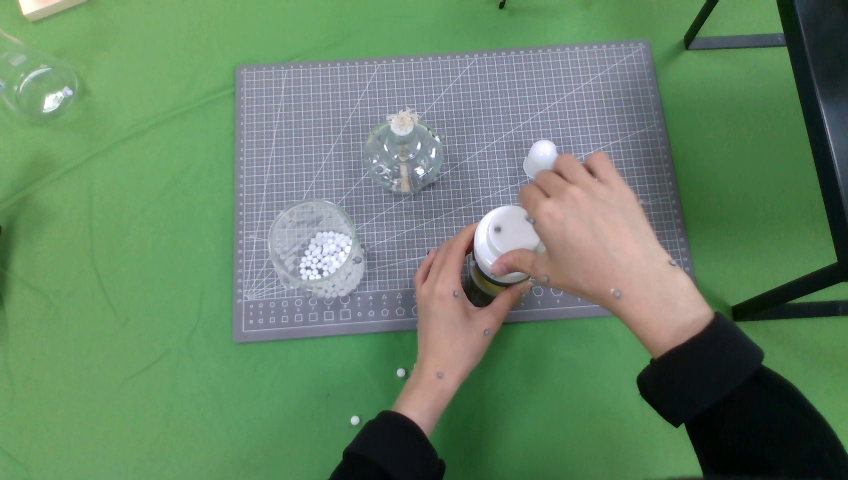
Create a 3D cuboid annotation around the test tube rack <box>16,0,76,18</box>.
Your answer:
[{"bbox_3d":[-0.348,-0.336,0.656,0.242,0.085,0.066,-24,75,-6],"label":"test tube rack"}]

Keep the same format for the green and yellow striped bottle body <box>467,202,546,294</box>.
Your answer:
[{"bbox_3d":[0.072,0.007,0.541,0.063,0.120,0.063,0,74,1],"label":"green and yellow striped bottle body"}]

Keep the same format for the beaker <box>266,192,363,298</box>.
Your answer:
[{"bbox_3d":[-0.096,0.013,0.550,0.074,0.101,0.083,25,76,8],"label":"beaker"}]

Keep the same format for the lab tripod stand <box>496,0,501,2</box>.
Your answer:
[{"bbox_3d":[0.141,-0.326,0.628,0.148,0.132,0.147,0,73,-1],"label":"lab tripod stand"}]

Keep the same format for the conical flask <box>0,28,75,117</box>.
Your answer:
[{"bbox_3d":[-0.411,-0.180,0.595,0.075,0.122,0.075,0,74,1],"label":"conical flask"}]

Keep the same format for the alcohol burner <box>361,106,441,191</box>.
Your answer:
[{"bbox_3d":[-0.022,-0.092,0.571,0.078,0.119,0.077,0,73,-1],"label":"alcohol burner"}]

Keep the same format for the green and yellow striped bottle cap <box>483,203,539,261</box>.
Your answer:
[{"bbox_3d":[0.071,-0.007,0.490,0.045,0.020,0.045,0,75,1],"label":"green and yellow striped bottle cap"}]

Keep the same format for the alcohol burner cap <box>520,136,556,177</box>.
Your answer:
[{"bbox_3d":[0.116,-0.087,0.607,0.034,0.048,0.033,0,74,0],"label":"alcohol burner cap"}]
